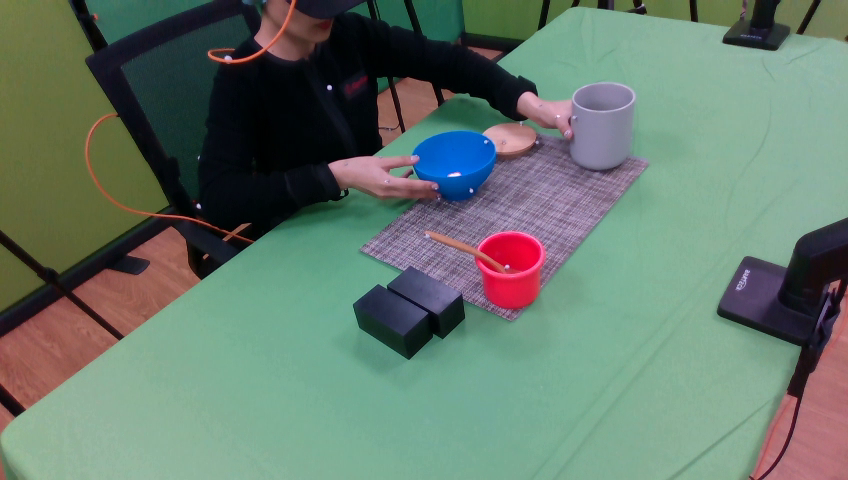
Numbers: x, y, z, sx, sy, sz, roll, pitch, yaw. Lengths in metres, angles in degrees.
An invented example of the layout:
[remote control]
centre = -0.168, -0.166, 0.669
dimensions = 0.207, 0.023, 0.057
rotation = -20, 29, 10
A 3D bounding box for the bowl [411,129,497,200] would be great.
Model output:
[bowl]
centre = 0.056, -0.124, 1.070
dimensions = 0.151, 0.077, 0.150
rotation = -6, 40, 5

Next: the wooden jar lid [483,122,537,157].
[wooden jar lid]
centre = 0.165, -0.194, 1.177
dimensions = 0.108, 0.021, 0.108
rotation = -4, 40, 4

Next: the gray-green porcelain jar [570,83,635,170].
[gray-green porcelain jar]
centre = 0.313, -0.197, 1.069
dimensions = 0.106, 0.127, 0.105
rotation = -5, 40, 5

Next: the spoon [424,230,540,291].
[spoon]
centre = 0.083, 0.026, 0.836
dimensions = 0.195, 0.021, 0.041
rotation = 29, 31, -24
